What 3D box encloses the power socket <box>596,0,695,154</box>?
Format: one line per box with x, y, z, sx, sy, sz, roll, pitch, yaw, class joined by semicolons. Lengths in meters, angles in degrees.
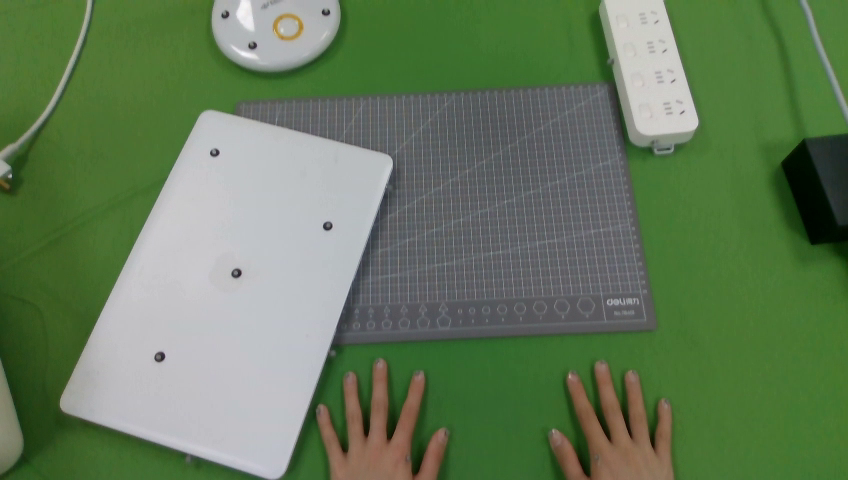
0.257;-0.207;0.713;0.072;0.033;0.225;-5;68;-1;power socket

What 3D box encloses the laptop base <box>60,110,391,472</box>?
-0.196;0.036;0.641;0.235;0.023;0.352;16;70;5;laptop base

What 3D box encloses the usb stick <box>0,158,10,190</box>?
-0.492;-0.083;0.686;0.059;0.021;0.027;46;57;-14;usb stick

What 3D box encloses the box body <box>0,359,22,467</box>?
-0.568;0.096;0.549;0.254;0.161;0.361;-29;70;-10;box body

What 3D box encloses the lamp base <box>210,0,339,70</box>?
-0.199;-0.317;0.692;0.160;0.181;0.178;-40;69;-13;lamp base

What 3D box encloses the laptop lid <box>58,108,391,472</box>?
-0.194;0.032;0.630;0.241;0.013;0.355;17;70;6;laptop lid
